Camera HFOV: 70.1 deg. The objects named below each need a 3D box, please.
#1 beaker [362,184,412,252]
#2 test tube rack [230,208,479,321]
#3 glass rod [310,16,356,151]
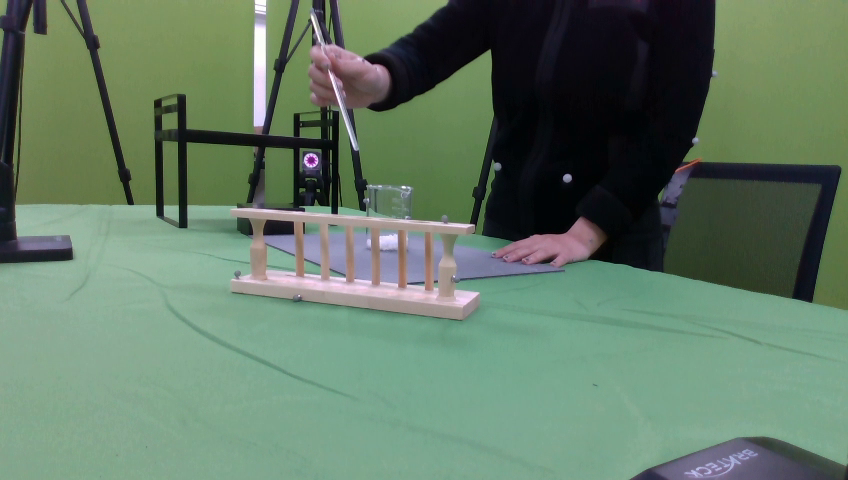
[{"bbox_3d":[-0.055,-0.034,0.935,0.083,0.100,0.074,10,11,44],"label":"beaker"},{"bbox_3d":[-0.069,0.017,0.598,0.242,0.085,0.067,5,8,18],"label":"test tube rack"},{"bbox_3d":[-0.116,-0.200,0.763,0.008,0.199,0.008,-17,-15,-4],"label":"glass rod"}]
